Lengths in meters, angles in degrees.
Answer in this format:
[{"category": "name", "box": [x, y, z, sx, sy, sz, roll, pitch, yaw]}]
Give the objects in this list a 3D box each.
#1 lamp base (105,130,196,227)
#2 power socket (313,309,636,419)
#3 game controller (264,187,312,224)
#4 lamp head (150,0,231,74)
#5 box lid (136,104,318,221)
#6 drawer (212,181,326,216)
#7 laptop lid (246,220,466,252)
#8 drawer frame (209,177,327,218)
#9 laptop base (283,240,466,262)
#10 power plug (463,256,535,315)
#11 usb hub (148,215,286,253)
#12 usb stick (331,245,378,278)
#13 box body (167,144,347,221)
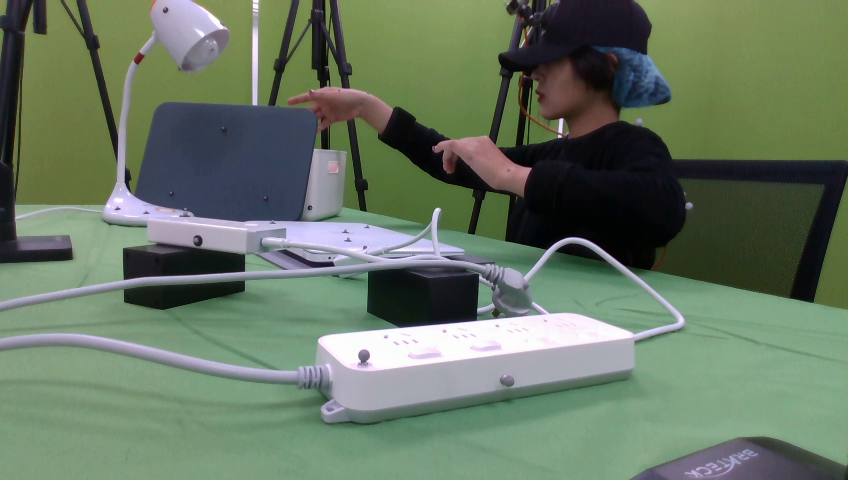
[{"category": "lamp base", "box": [-0.532, -0.120, 1.153, 0.179, 0.180, 0.161, 1, 7, 8]}, {"category": "power socket", "box": [0.039, 0.072, 0.384, 0.228, 0.032, 0.072, -2, 7, -28]}, {"category": "game controller", "box": [-0.307, -0.088, 1.397, 0.097, 0.051, 0.155, 30, 8, -4]}, {"category": "lamp head", "box": [-0.432, -0.374, 1.086, 0.123, 0.112, 0.112, 42, 8, -3]}, {"category": "box lid", "box": [-0.411, -0.162, 1.266, 0.371, 0.263, 0.015, 3, -15, 9]}, {"category": "drawer", "box": [-0.348, -0.100, 1.395, 0.212, 0.073, 0.194, 1, 8, 4]}, {"category": "laptop lid", "box": [-0.123, -0.009, 0.945, 0.243, 0.013, 0.355, 1, 7, -29]}, {"category": "drawer frame", "box": [-0.350, -0.100, 1.392, 0.213, 0.082, 0.201, 1, 8, 3]}, {"category": "laptop base", "box": [-0.125, 0.003, 0.946, 0.237, 0.023, 0.352, 2, 6, -31]}, {"category": "power plug", "box": [0.064, 0.039, 0.530, 0.072, 0.052, 0.035, 31, 43, 7]}, {"category": "usb hub", "box": [-0.197, -0.006, 0.575, 0.125, 0.025, 0.050, 6, 6, 22]}, {"category": "usb stick", "box": [-0.085, 0.026, 0.701, 0.059, 0.027, 0.021, -18, 20, 27]}, {"category": "box body", "box": [-0.384, -0.137, 1.407, 0.364, 0.160, 0.254, 3, 8, 8]}]
